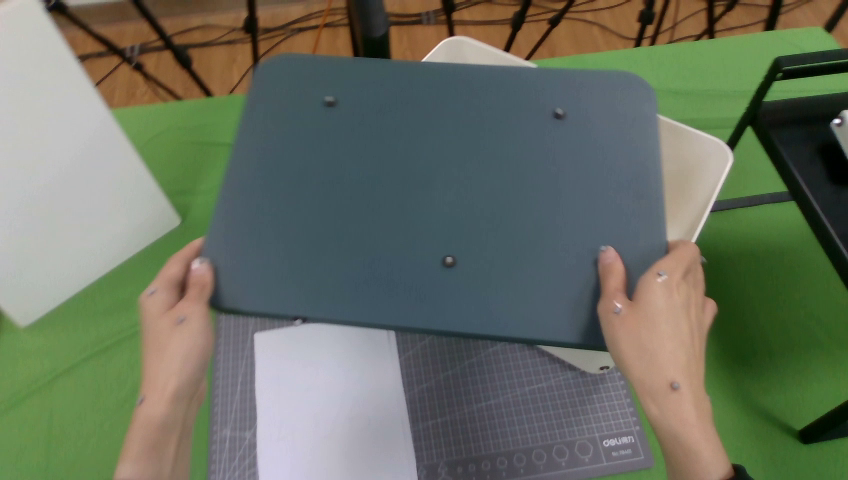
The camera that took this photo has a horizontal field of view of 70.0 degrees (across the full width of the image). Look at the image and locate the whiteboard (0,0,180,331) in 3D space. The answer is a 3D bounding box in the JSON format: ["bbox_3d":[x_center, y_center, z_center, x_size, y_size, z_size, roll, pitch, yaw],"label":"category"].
[{"bbox_3d":[-0.474,-0.091,0.691,0.217,0.309,0.142,-39,45,-21],"label":"whiteboard"}]

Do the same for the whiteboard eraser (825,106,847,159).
[{"bbox_3d":[0.460,-0.103,0.592,0.113,0.042,0.055,0,58,0],"label":"whiteboard eraser"}]

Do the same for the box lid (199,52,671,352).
[{"bbox_3d":[0.014,-0.049,0.514,0.371,0.015,0.261,5,64,5],"label":"box lid"}]

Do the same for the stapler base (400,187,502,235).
[{"bbox_3d":[0.035,-0.042,0.776,0.130,0.024,0.041,15,55,10],"label":"stapler base"}]

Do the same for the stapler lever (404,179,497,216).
[{"bbox_3d":[0.033,-0.058,0.754,0.118,0.040,0.026,14,55,12],"label":"stapler lever"}]

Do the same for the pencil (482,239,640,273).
[{"bbox_3d":[0.165,0.017,0.745,0.193,0.012,0.012,11,57,13],"label":"pencil"}]

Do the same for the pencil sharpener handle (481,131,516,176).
[{"bbox_3d":[0.091,-0.111,0.757,0.030,0.068,0.036,26,47,18],"label":"pencil sharpener handle"}]

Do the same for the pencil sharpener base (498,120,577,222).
[{"bbox_3d":[0.136,-0.085,0.754,0.076,0.108,0.061,26,59,18],"label":"pencil sharpener base"}]

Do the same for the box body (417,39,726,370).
[{"bbox_3d":[0.110,-0.047,0.702,0.362,0.162,0.253,27,61,17],"label":"box body"}]
